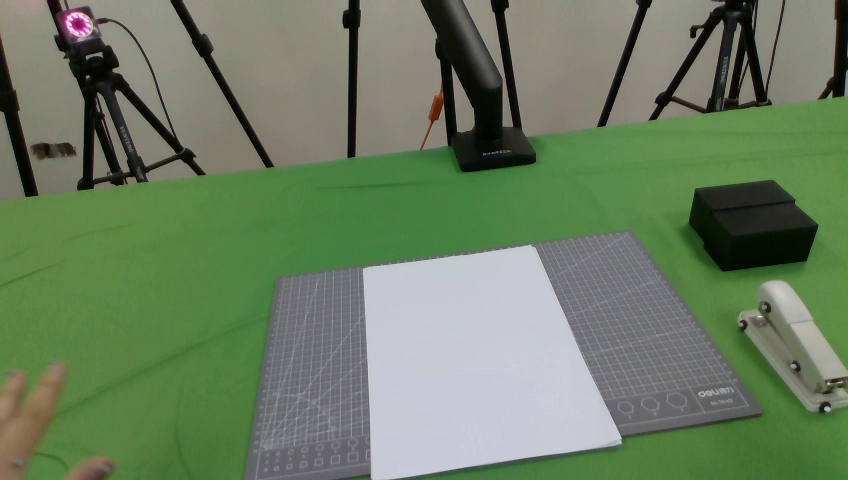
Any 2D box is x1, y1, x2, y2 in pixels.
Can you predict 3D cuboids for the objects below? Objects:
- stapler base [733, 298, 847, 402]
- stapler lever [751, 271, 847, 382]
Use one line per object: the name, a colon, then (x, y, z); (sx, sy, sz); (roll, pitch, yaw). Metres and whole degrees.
stapler base: (0.344, 0.094, 0.573); (0.041, 0.024, 0.129); (-9, 37, -2)
stapler lever: (0.343, 0.075, 0.557); (0.027, 0.040, 0.117); (-10, 37, -2)
